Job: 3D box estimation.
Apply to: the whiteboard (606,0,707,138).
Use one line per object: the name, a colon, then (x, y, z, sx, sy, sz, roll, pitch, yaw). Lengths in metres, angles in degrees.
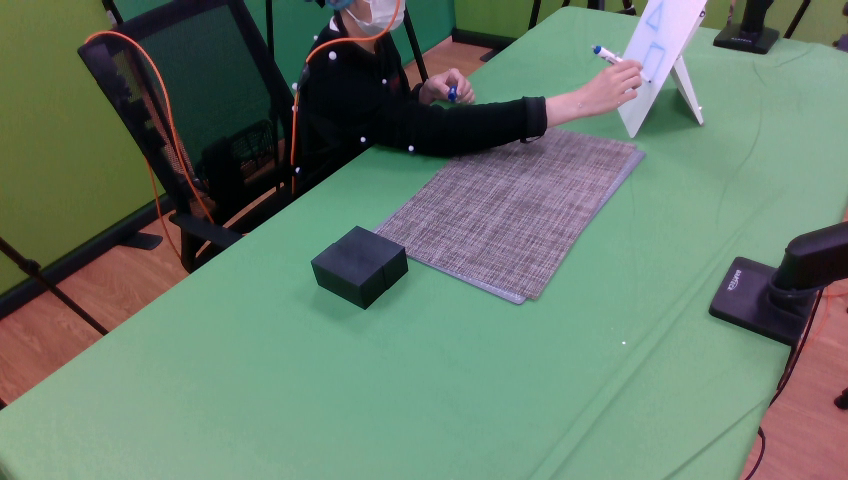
whiteboard: (0.496, -0.358, 1.147, 0.144, 0.305, 0.216, 12, 40, -7)

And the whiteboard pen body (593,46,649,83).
whiteboard pen body: (0.359, -0.312, 1.087, 0.142, 0.017, 0.017, 20, 32, -27)

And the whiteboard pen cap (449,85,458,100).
whiteboard pen cap: (0.061, -0.309, 1.262, 0.018, 0.018, 0.033, 4, 49, 12)
